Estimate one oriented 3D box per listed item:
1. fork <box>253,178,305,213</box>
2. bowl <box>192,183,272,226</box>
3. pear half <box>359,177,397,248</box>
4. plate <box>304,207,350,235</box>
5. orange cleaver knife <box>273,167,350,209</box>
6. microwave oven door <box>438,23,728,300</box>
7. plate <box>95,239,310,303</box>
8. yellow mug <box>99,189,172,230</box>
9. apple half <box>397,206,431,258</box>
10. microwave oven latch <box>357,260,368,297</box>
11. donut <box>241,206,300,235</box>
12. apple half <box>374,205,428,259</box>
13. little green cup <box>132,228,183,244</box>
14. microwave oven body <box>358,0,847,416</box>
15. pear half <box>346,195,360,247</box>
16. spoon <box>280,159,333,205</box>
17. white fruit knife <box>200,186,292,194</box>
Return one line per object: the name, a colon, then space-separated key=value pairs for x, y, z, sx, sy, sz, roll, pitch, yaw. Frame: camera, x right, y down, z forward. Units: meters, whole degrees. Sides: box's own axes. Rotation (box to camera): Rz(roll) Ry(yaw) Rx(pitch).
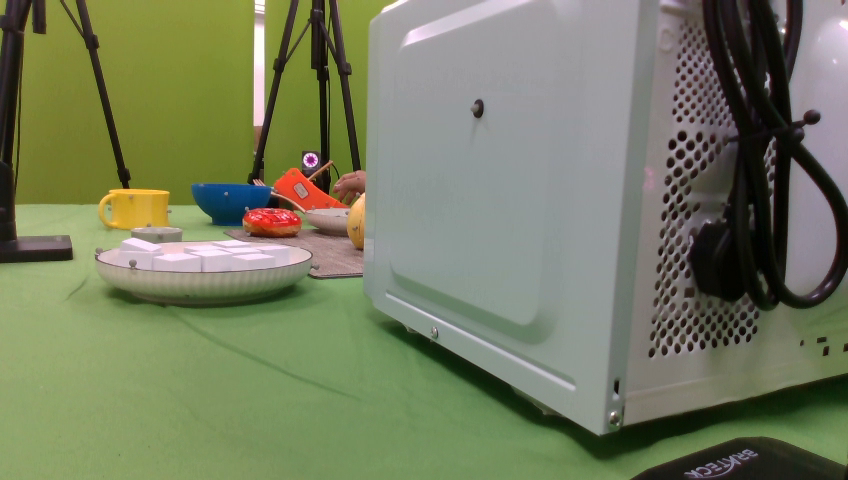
fork: x=-0.294 y=-0.084 z=1.293 sx=0.206 sy=0.018 sz=0.028 roll=29 pitch=13 yaw=26
bowl: x=-0.381 y=-0.071 z=1.202 sx=0.151 sy=0.077 sz=0.151 roll=3 pitch=7 yaw=0
pear half: x=-0.069 y=-0.041 z=0.924 sx=0.056 sy=0.110 sz=0.076 roll=2 pitch=11 yaw=-2
plate: x=-0.123 y=-0.037 z=1.149 sx=0.209 sy=0.038 sz=0.209 roll=2 pitch=7 yaw=0
orange cleaver knife: x=-0.236 y=-0.087 z=1.357 sx=0.211 sy=0.077 sz=0.012 roll=31 pitch=4 yaw=-2
microwave oven door: x=0.181 y=-0.072 z=0.620 sx=0.358 sy=0.243 sz=0.039 roll=-2 pitch=8 yaw=-29
plate: x=-0.224 y=0.031 z=0.629 sx=0.208 sy=0.039 sz=0.207 roll=2 pitch=7 yaw=0
yellow mug: x=-0.519 y=-0.055 z=1.080 sx=0.099 sy=0.064 sz=0.131 roll=7 pitch=9 yaw=26
apple half: x=-0.009 y=-0.013 z=0.863 sx=0.033 sy=0.081 sz=0.081 roll=-5 pitch=10 yaw=-27
microwave oven latch: x=-0.019 y=0.033 z=0.531 sx=0.079 sy=0.029 sz=0.030 roll=-1 pitch=7 yaw=-27
donut: x=-0.263 y=-0.032 z=1.039 sx=0.099 sy=0.048 sz=0.099 roll=4 pitch=10 yaw=0
apple half: x=-0.040 y=-0.011 z=0.850 sx=0.080 sy=0.074 sz=0.053 roll=18 pitch=18 yaw=40
little green cup: x=-0.342 y=0.006 z=0.779 sx=0.061 sy=0.038 sz=0.061 roll=2 pitch=8 yaw=0
microwave oven body: x=0.211 y=-0.047 z=0.474 sx=0.444 sy=0.260 sz=0.324 roll=-1 pitch=7 yaw=-28
pear half: x=-0.104 y=-0.033 z=0.926 sx=0.031 sy=0.088 sz=0.070 roll=2 pitch=12 yaw=-2
spoon: x=-0.316 y=-0.159 z=1.639 sx=0.194 sy=0.022 sz=0.041 roll=-49 pitch=32 yaw=-20
white fruit knife: x=-0.399 y=-0.111 z=1.368 sx=0.208 sy=0.016 sz=0.027 roll=-4 pitch=-19 yaw=-29
